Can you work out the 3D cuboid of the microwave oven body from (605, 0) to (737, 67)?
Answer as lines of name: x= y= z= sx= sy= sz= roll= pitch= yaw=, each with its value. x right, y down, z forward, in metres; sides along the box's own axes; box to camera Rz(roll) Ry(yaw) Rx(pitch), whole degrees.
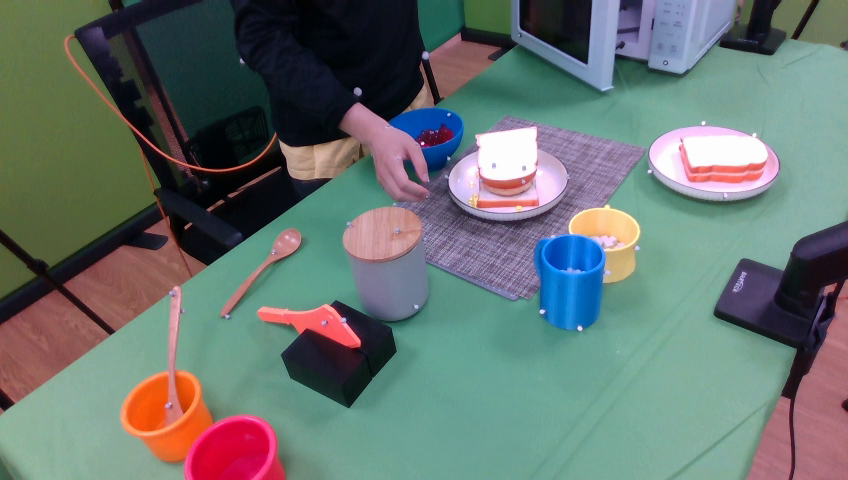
microwave oven body: x=0.475 y=-0.602 z=1.411 sx=0.438 sy=0.261 sz=0.327 roll=23 pitch=50 yaw=32

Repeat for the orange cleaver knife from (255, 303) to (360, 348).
orange cleaver knife: x=-0.161 y=0.115 z=0.813 sx=0.210 sy=0.077 sz=0.012 roll=-4 pitch=32 yaw=46

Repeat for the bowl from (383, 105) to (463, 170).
bowl: x=0.002 y=-0.185 z=1.143 sx=0.151 sy=0.077 sz=0.150 roll=-4 pitch=40 yaw=4

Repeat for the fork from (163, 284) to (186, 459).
fork: x=-0.302 y=0.157 z=0.733 sx=0.028 sy=0.019 sz=0.207 roll=-3 pitch=84 yaw=15

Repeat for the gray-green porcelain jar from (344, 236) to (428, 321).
gray-green porcelain jar: x=-0.049 y=0.042 z=0.849 sx=0.106 sy=0.127 sz=0.105 roll=-4 pitch=41 yaw=4

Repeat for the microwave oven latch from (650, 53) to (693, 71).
microwave oven latch: x=0.531 y=-0.386 z=1.301 sx=0.078 sy=0.029 sz=0.030 roll=26 pitch=51 yaw=33

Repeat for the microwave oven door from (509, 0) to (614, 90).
microwave oven door: x=0.295 y=-0.505 z=1.318 sx=0.039 sy=0.245 sz=0.352 roll=-23 pitch=43 yaw=-17

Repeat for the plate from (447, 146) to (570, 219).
plate: x=0.145 y=-0.098 z=1.046 sx=0.209 sy=0.038 sz=0.208 roll=-4 pitch=40 yaw=4

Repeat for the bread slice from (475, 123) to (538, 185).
bread slice: x=0.142 y=-0.143 z=1.008 sx=0.107 sy=0.018 sz=0.133 roll=-8 pitch=47 yaw=9

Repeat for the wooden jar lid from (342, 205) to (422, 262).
wooden jar lid: x=-0.055 y=-0.006 z=0.808 sx=0.108 sy=0.021 sz=0.108 roll=-6 pitch=41 yaw=6

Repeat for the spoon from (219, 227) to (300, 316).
spoon: x=-0.261 y=0.046 z=0.954 sx=0.041 sy=0.021 sz=0.194 roll=26 pitch=48 yaw=11

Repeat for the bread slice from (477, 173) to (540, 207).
bread slice: x=0.145 y=-0.105 z=1.057 sx=0.105 sy=0.019 sz=0.131 roll=-2 pitch=42 yaw=6

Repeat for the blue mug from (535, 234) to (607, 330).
blue mug: x=0.190 y=0.048 z=0.824 sx=0.082 sy=0.106 sz=0.115 roll=-26 pitch=44 yaw=-21

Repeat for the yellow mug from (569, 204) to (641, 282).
yellow mug: x=0.268 y=-0.005 z=0.904 sx=0.099 sy=0.064 sz=0.130 roll=7 pitch=41 yaw=15

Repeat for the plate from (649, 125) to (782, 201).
plate: x=0.493 y=-0.128 z=1.036 sx=0.207 sy=0.039 sz=0.206 roll=-4 pitch=41 yaw=4
